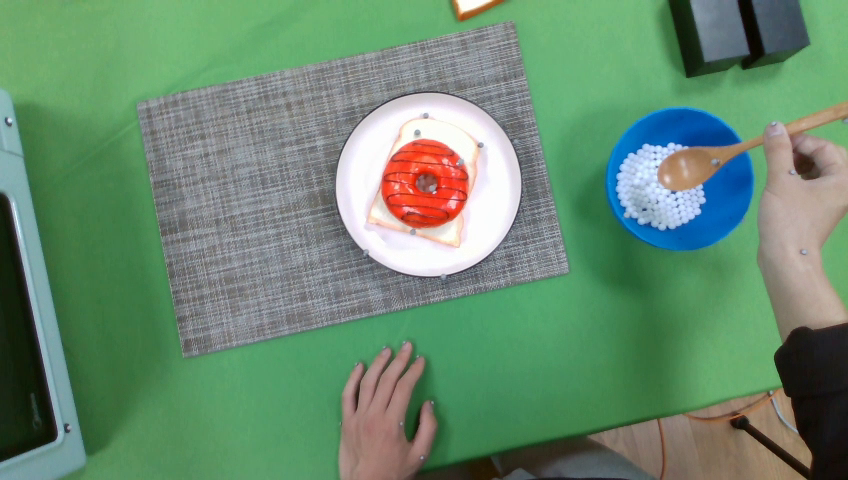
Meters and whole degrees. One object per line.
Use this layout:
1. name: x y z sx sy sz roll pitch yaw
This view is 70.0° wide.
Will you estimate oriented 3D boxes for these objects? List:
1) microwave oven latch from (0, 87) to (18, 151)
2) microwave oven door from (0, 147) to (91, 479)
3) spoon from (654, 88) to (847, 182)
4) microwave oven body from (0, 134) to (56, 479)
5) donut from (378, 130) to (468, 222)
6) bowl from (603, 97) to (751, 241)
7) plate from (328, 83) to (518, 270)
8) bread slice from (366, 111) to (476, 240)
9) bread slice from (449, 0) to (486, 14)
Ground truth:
1. microwave oven latch: -0.482 -0.137 0.676 0.030 0.029 0.079 -14 88 0
2. microwave oven door: -0.432 0.068 0.564 0.039 0.244 0.355 -15 87 1
3. spoon: 0.303 -0.098 0.553 0.022 0.193 0.041 -8 81 -42
4. microwave oven body: -0.584 0.065 0.571 0.326 0.260 0.441 -15 87 0
5. donut: -0.001 -0.068 0.652 0.099 0.048 0.099 0 88 2
6. bowl: 0.261 -0.070 0.659 0.151 0.077 0.151 0 87 1
7. plate: -0.001 -0.068 0.679 0.208 0.039 0.207 0 87 1
8. bread slice: 0.000 -0.076 0.680 0.107 0.018 0.134 12 87 1
9. bread slice: 0.053 -0.343 0.707 0.105 0.019 0.131 -27 88 -1
